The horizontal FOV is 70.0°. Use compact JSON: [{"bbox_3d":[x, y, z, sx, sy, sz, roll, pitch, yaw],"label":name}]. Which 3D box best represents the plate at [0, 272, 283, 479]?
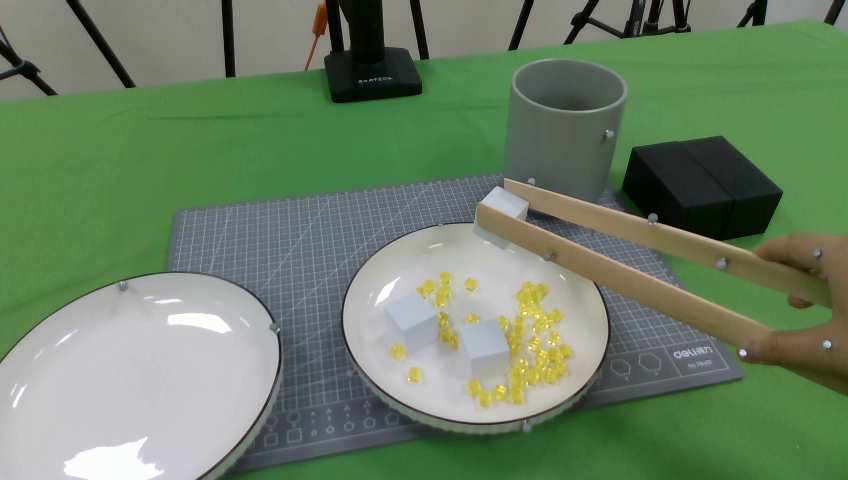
[{"bbox_3d":[-0.204,0.108,0.436,0.209,0.038,0.207,-1,42,1],"label":"plate"}]

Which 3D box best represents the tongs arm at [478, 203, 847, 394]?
[{"bbox_3d":[0.193,0.048,0.364,0.384,0.028,0.028,24,49,31],"label":"tongs arm"}]

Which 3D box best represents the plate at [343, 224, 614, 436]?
[{"bbox_3d":[0.042,0.067,0.482,0.208,0.039,0.205,0,42,0],"label":"plate"}]

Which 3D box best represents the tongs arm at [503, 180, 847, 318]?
[{"bbox_3d":[0.208,0.034,0.376,0.382,0.027,0.050,21,50,28],"label":"tongs arm"}]

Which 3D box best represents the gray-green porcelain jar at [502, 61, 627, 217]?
[{"bbox_3d":[0.132,-0.094,0.593,0.106,0.127,0.105,0,42,0],"label":"gray-green porcelain jar"}]
